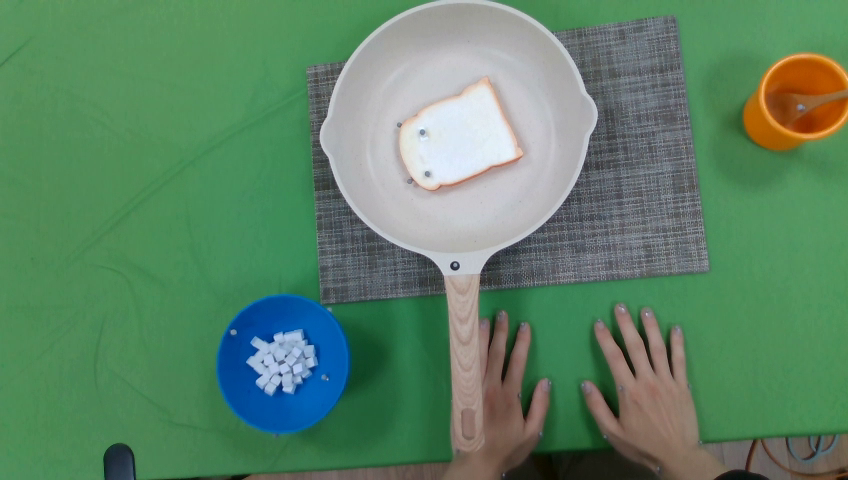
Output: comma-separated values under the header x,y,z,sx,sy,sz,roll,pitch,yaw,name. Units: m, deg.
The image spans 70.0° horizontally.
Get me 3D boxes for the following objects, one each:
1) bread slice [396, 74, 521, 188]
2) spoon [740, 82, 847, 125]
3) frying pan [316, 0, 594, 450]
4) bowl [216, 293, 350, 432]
x,y,z,sx,sy,sz,roll,pitch,yaw,name
0.035,-0.119,0.718,0.134,0.018,0.106,-27,81,3,bread slice
0.421,-0.151,0.609,0.022,0.192,0.041,6,83,-36,spoon
0.036,-0.024,0.668,0.306,0.103,0.485,-3,75,9,frying pan
-0.150,0.136,0.696,0.151,0.077,0.151,-1,84,8,bowl
